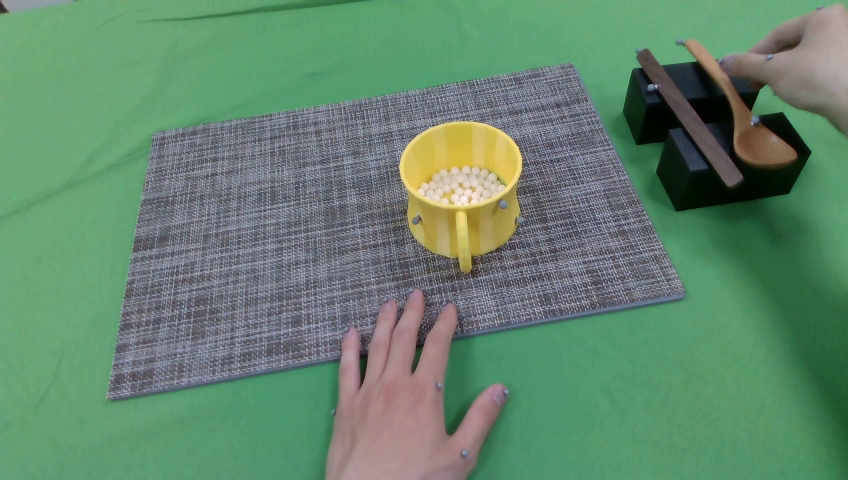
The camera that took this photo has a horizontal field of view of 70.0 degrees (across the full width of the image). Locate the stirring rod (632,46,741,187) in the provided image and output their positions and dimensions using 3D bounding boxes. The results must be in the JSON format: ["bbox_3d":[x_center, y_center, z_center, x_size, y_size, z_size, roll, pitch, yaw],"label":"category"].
[{"bbox_3d":[0.219,-0.111,0.517,0.014,0.006,0.174,-33,51,23],"label":"stirring rod"}]

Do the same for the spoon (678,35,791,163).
[{"bbox_3d":[0.258,-0.127,0.519,0.041,0.022,0.191,-6,51,2],"label":"spoon"}]

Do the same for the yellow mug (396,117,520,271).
[{"bbox_3d":[0.030,-0.034,0.501,0.100,0.064,0.129,-4,54,4],"label":"yellow mug"}]
